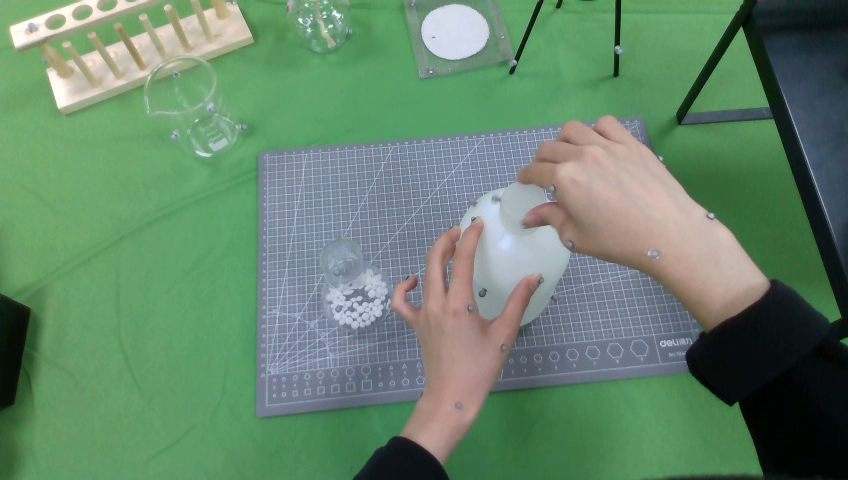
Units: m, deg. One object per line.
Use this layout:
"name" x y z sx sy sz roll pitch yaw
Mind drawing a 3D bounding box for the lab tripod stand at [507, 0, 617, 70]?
"lab tripod stand" 0.169 -0.266 0.693 0.148 0.132 0.147 1 67 -1

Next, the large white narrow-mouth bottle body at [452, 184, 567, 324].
"large white narrow-mouth bottle body" 0.076 0.006 0.549 0.102 0.196 0.101 -1 67 3

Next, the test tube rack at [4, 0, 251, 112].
"test tube rack" -0.340 -0.245 0.715 0.242 0.086 0.066 -24 70 -9

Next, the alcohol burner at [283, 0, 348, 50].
"alcohol burner" -0.131 -0.284 0.714 0.078 0.120 0.077 0 65 0

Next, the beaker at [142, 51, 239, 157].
"beaker" -0.253 -0.142 0.665 0.073 0.101 0.084 39 74 16

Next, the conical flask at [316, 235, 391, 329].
"conical flask" -0.073 0.035 0.576 0.075 0.123 0.075 0 67 1

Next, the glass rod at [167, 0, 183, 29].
"glass rod" -0.297 -0.307 0.668 0.008 0.201 0.008 2 65 -3

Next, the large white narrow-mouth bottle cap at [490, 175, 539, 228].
"large white narrow-mouth bottle cap" 0.070 -0.030 0.466 0.038 0.024 0.037 -1 68 3

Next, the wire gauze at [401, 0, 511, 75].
"wire gauze" 0.038 -0.269 0.763 0.121 0.011 0.124 -10 68 -5
